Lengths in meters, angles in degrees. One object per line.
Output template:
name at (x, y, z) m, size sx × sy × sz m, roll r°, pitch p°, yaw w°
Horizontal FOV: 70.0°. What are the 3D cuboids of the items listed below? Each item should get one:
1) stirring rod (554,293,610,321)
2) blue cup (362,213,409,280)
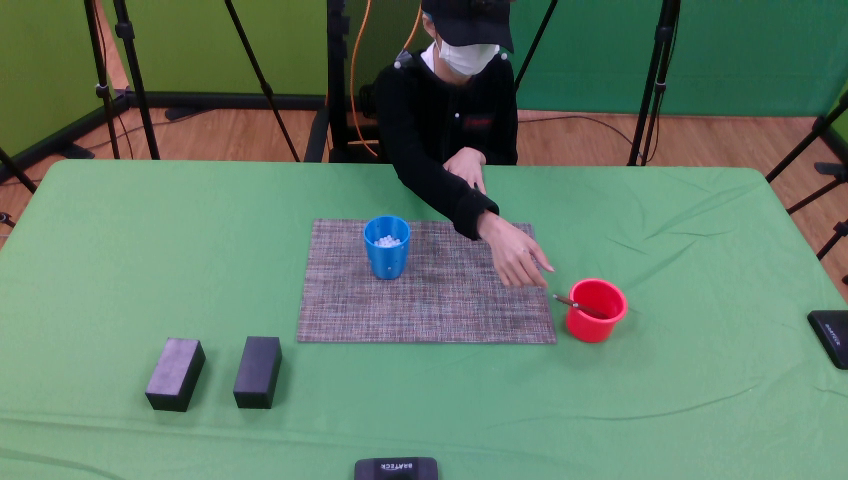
stirring rod at (0.271, 0.115, 1.030) m, size 0.177 × 0.006 × 0.014 m, roll 22°, pitch 25°, yaw -42°
blue cup at (-0.070, 0.020, 1.114) m, size 0.093 × 0.101 × 0.092 m, roll 1°, pitch 46°, yaw -1°
